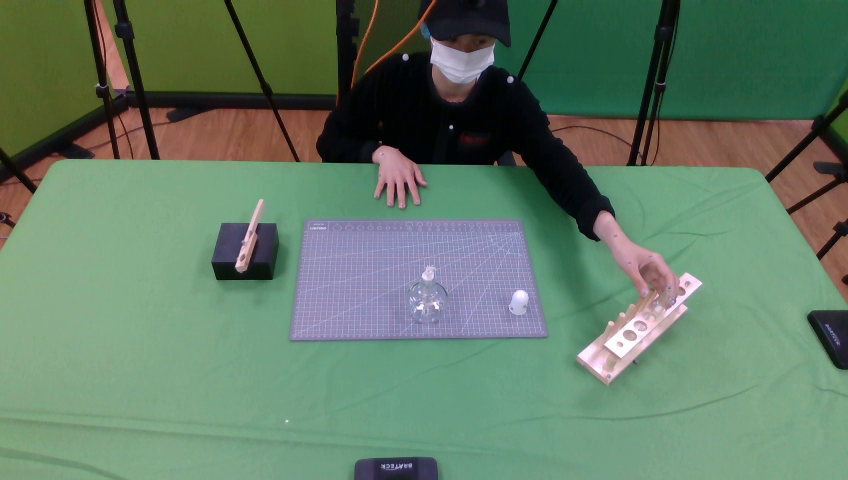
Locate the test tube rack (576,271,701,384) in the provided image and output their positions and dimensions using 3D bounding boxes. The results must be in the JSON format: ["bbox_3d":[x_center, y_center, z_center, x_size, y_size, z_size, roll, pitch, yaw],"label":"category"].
[{"bbox_3d":[0.373,0.138,1.047,0.242,0.085,0.066,-31,56,-29],"label":"test tube rack"}]

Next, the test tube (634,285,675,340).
[{"bbox_3d":[0.376,0.122,0.993,0.017,0.151,0.017,3,50,-3],"label":"test tube"}]

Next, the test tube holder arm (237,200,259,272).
[{"bbox_3d":[-0.325,-0.012,1.120,0.013,0.015,0.177,1,45,-5],"label":"test tube holder arm"}]

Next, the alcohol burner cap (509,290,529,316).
[{"bbox_3d":[0.171,0.110,1.086,0.034,0.048,0.033,2,45,-1],"label":"alcohol burner cap"}]

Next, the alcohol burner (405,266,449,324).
[{"bbox_3d":[0.005,0.089,1.043,0.078,0.120,0.077,1,45,-1],"label":"alcohol burner"}]

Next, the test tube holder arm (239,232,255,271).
[{"bbox_3d":[-0.318,0.020,1.089,0.010,0.015,0.087,3,45,-4],"label":"test tube holder arm"}]
